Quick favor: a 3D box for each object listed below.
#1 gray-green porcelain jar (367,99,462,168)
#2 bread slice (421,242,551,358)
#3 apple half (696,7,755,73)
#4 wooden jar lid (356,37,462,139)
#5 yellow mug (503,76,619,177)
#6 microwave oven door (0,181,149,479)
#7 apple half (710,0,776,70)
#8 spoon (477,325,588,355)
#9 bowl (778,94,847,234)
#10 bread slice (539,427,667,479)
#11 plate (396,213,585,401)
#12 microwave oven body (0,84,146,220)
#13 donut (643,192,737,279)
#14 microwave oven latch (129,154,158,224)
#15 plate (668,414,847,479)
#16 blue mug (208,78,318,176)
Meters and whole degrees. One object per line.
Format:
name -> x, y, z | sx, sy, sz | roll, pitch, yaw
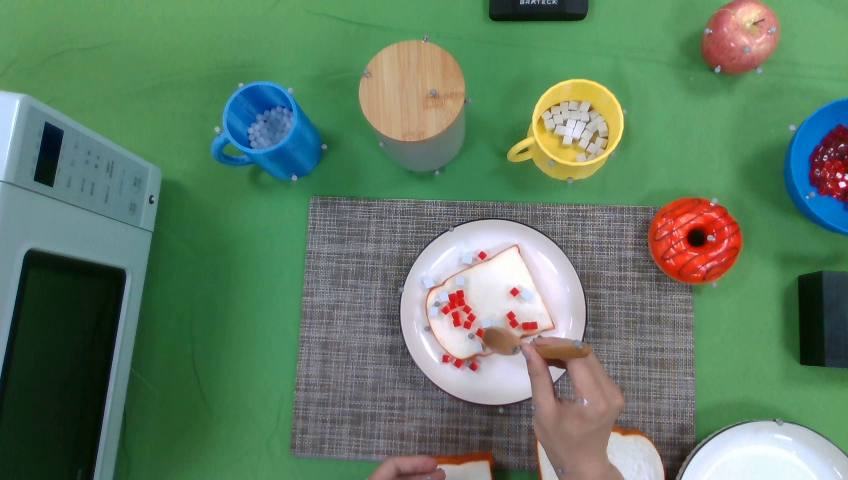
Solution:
gray-green porcelain jar -> -0.010, -0.142, 0.679 | 0.106, 0.127, 0.105 | -1, 81, 4
bread slice -> 0.065, 0.075, 0.684 | 0.131, 0.019, 0.104 | -25, 81, 0
apple half -> 0.333, -0.219, 0.691 | 0.033, 0.081, 0.081 | -30, 80, -5
wooden jar lid -> -0.015, -0.153, 0.618 | 0.108, 0.021, 0.108 | -1, 80, 4
yellow mug -> 0.152, -0.122, 0.695 | 0.131, 0.064, 0.099 | -22, 81, 2
microwave oven door -> -0.371, 0.140, 0.587 | 0.039, 0.244, 0.354 | 5, 82, 5
apple half -> 0.366, -0.239, 0.693 | 0.053, 0.075, 0.080 | -30, 77, -6
spoon -> 0.098, 0.099, 0.574 | 0.021, 0.193, 0.042 | -43, 98, -16
bowl -> 0.453, -0.074, 0.661 | 0.151, 0.077, 0.151 | -1, 82, 5
bread slice -> 0.189, 0.251, 0.626 | 0.135, 0.018, 0.106 | -3, 78, -16
plate -> 0.074, 0.074, 0.683 | 0.207, 0.039, 0.207 | -1, 82, 4
microwave oven body -> -0.510, 0.085, 0.609 | 0.326, 0.261, 0.440 | 5, 83, 4
donut -> 0.294, -0.005, 0.675 | 0.099, 0.048, 0.098 | -1, 82, 4
microwave oven latch -> -0.337, -0.061, 0.716 | 0.030, 0.029, 0.079 | 8, 83, 5
plate -> 0.355, 0.288, 0.636 | 0.209, 0.038, 0.208 | -1, 82, 4
blue mug -> -0.190, -0.120, 0.698 | 0.116, 0.106, 0.082 | -23, 80, 1
